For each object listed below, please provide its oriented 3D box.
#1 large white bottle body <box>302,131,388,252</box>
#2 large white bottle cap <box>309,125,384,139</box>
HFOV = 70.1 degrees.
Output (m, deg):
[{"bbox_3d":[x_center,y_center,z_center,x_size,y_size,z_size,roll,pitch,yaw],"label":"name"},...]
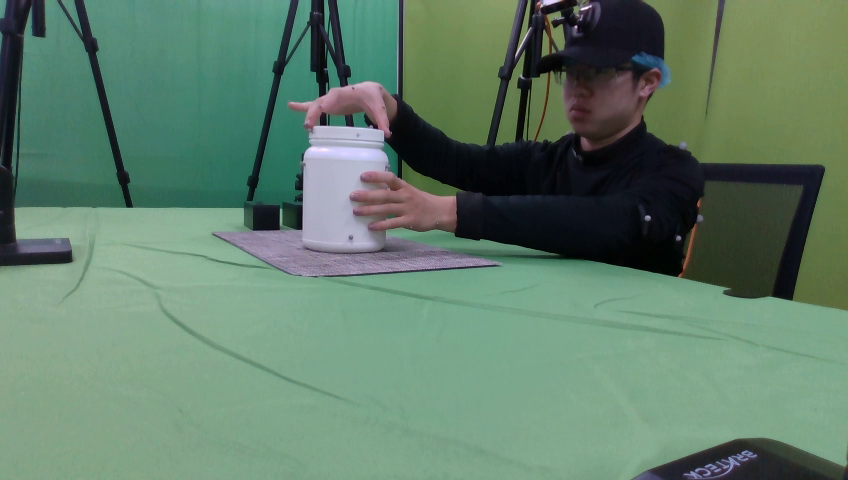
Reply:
[{"bbox_3d":[-0.122,-0.080,0.938,0.131,0.184,0.130,2,7,0],"label":"large white bottle body"},{"bbox_3d":[-0.119,-0.163,0.926,0.115,0.018,0.115,2,7,0],"label":"large white bottle cap"}]
